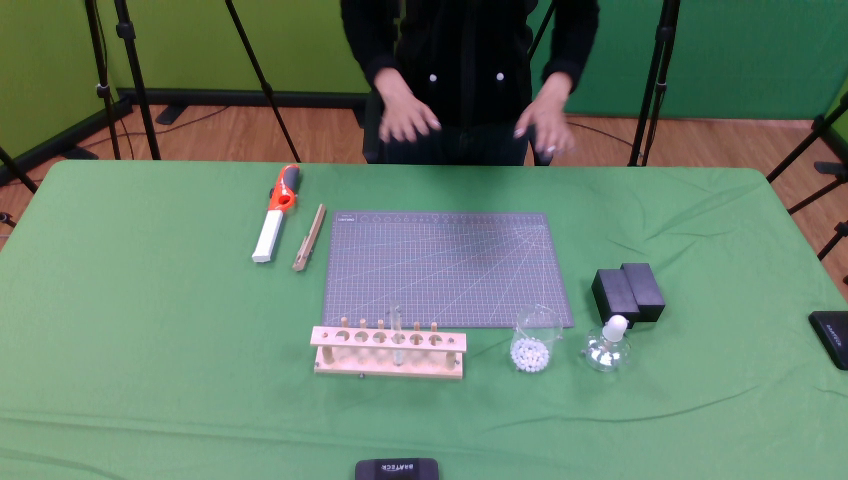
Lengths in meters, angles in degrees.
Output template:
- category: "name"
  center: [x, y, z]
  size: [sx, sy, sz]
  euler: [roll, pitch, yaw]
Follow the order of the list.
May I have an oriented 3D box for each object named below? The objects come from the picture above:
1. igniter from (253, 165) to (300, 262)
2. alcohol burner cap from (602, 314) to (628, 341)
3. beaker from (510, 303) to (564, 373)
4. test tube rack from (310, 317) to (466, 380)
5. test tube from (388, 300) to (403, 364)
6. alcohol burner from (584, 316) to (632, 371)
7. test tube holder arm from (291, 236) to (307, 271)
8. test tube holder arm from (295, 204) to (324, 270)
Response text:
- category: "igniter"
  center: [-0.298, -0.063, 1.234]
  size: [0.057, 0.025, 0.275]
  euler: [-3, 45, 7]
- category: "alcohol burner cap"
  center: [0.309, 0.138, 0.974]
  size: [0.034, 0.048, 0.033]
  euler: [2, 52, -2]
- category: "beaker"
  center: [0.182, 0.164, 1.000]
  size: [0.074, 0.101, 0.083]
  euler: [2, 46, -1]
- category: "test tube rack"
  center: [-0.056, 0.171, 0.987]
  size: [0.242, 0.085, 0.066]
  euler: [3, 45, -1]
- category: "test tube"
  center: [-0.044, 0.146, 0.942]
  size: [0.017, 0.151, 0.017]
  euler: [-1, 44, 1]
- category: "alcohol burner"
  center: [0.307, 0.163, 0.999]
  size: [0.078, 0.120, 0.077]
  euler: [1, 48, -1]
- category: "test tube holder arm"
  center: [-0.234, 0.024, 1.163]
  size: [0.010, 0.015, 0.087]
  euler: [-17, 38, 27]
- category: "test tube holder arm"
  center: [-0.223, -0.009, 1.192]
  size: [0.013, 0.015, 0.177]
  euler: [-18, 38, 26]
